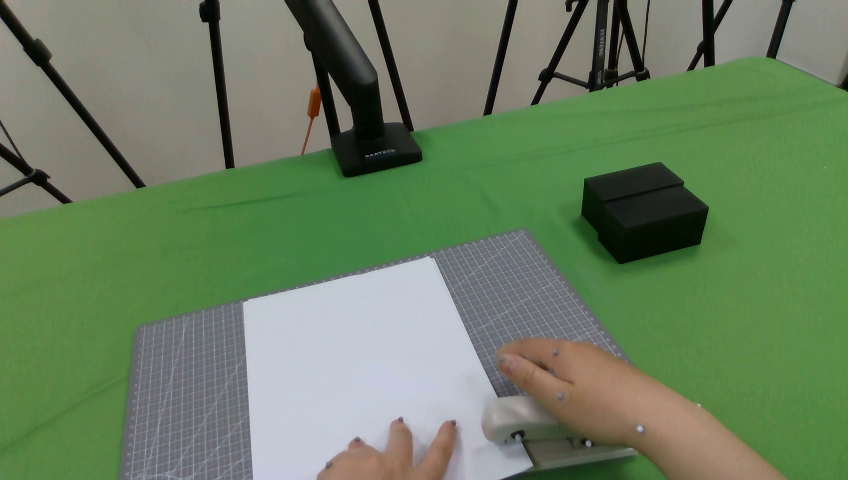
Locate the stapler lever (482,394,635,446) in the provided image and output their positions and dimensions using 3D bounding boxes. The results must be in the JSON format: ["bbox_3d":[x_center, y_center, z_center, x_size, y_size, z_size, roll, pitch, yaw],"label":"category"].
[{"bbox_3d":[0.104,0.136,0.471,0.118,0.040,0.026,-8,40,-4],"label":"stapler lever"}]

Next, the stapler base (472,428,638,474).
[{"bbox_3d":[0.104,0.156,0.485,0.131,0.024,0.041,-7,40,-5],"label":"stapler base"}]
